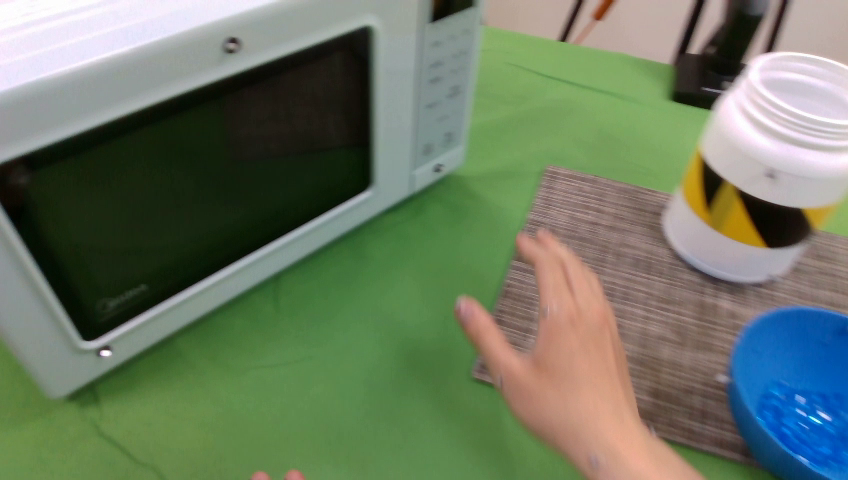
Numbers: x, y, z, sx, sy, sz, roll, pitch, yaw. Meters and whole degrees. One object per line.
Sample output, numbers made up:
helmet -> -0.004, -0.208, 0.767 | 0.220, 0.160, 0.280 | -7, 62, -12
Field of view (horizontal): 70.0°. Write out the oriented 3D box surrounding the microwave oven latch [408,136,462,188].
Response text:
microwave oven latch -> 0.005, -0.087, 0.639 | 0.079, 0.030, 0.030 | -32, 57, -29

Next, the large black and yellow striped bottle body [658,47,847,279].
large black and yellow striped bottle body -> 0.308, -0.067, 0.558 | 0.131, 0.185, 0.129 | 2, 46, -2

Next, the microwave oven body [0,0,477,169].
microwave oven body -> -0.222, -0.149, 0.548 | 0.441, 0.262, 0.323 | -34, 58, -30

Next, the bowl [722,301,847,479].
bowl -> 0.287, 0.127, 0.445 | 0.151, 0.077, 0.150 | 2, 46, -1

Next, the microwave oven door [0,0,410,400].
microwave oven door -> -0.151, -0.054, 0.455 | 0.356, 0.246, 0.039 | -34, 56, -30
